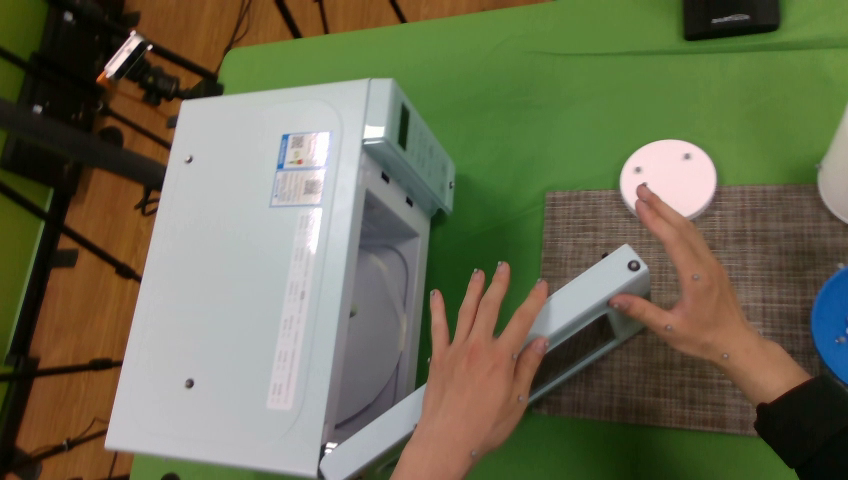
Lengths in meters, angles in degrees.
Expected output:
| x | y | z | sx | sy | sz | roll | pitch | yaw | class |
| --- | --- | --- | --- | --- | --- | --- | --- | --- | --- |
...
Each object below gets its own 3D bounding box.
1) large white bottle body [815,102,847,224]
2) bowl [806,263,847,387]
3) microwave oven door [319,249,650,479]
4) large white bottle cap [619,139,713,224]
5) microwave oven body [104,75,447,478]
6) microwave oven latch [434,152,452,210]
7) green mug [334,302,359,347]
| x | y | z | sx | sy | sz | roll | pitch | yaw | class |
| --- | --- | --- | --- | --- | --- | --- | --- | --- | --- |
| 0.497 | -0.099 | 0.626 | 0.130 | 0.186 | 0.129 | -8 | 66 | 18 | large white bottle body |
| 0.477 | 0.097 | 0.629 | 0.151 | 0.077 | 0.150 | -7 | 70 | 20 | bowl |
| 0.084 | 0.153 | 0.653 | 0.356 | 0.246 | 0.039 | -37 | 63 | 6 | microwave oven door |
| 0.312 | -0.076 | 0.784 | 0.114 | 0.018 | 0.114 | -7 | 70 | 18 | large white bottle cap |
| -0.165 | 0.057 | 0.786 | 0.325 | 0.262 | 0.439 | -1 | 73 | 20 | microwave oven body |
| 0.024 | -0.084 | 0.869 | 0.030 | 0.030 | 0.078 | 0 | 73 | 20 | microwave oven latch |
| -0.146 | 0.103 | 0.788 | 0.125 | 0.106 | 0.092 | -13 | 72 | 8 | green mug |
